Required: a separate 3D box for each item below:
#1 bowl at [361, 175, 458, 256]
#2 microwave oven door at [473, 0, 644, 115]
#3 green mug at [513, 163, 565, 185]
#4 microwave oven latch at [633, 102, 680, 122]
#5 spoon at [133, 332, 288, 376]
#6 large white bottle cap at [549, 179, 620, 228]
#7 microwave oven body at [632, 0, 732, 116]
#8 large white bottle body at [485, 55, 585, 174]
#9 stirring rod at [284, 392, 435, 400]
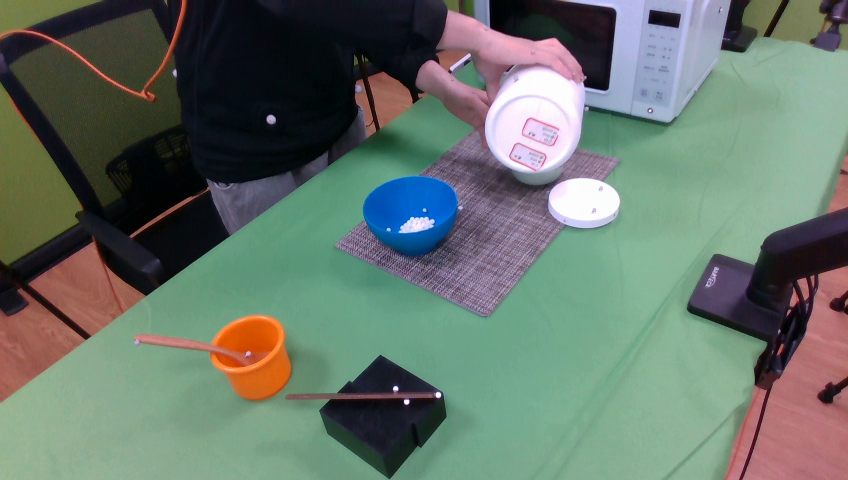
[{"bbox_3d":[-0.019,-0.028,0.955,0.151,0.077,0.150,-4,40,3],"label":"bowl"},{"bbox_3d":[0.257,-0.396,1.199,0.353,0.245,0.039,21,48,29],"label":"microwave oven door"},{"bbox_3d":[0.185,-0.162,1.061,0.124,0.105,0.092,15,46,24],"label":"green mug"},{"bbox_3d":[0.444,-0.250,1.157,0.078,0.029,0.030,22,49,30],"label":"microwave oven latch"},{"bbox_3d":[-0.257,0.137,0.747,0.021,0.195,0.041,-47,40,23],"label":"spoon"},{"bbox_3d":[0.265,-0.062,1.001,0.115,0.018,0.114,-4,41,4],"label":"large white bottle cap"},{"bbox_3d":[0.377,-0.462,1.267,0.438,0.261,0.327,21,48,30],"label":"microwave oven body"},{"bbox_3d":[0.168,-0.193,0.892,0.130,0.131,0.184,5,34,14],"label":"large white bottle body"},{"bbox_3d":[-0.075,0.180,0.698,0.176,0.006,0.014,-2,6,7],"label":"stirring rod"}]
